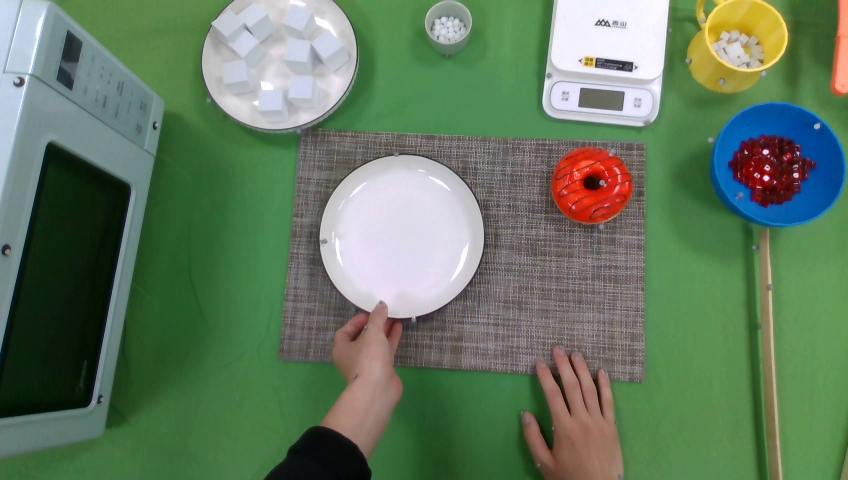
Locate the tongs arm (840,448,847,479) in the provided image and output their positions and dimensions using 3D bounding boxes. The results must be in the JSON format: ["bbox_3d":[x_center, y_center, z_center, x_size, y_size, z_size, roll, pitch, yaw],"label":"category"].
[{"bbox_3d":[0.505,0.188,0.705,0.028,0.028,0.386,18,82,-1],"label":"tongs arm"}]

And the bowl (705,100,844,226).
[{"bbox_3d":[0.407,-0.084,0.733,0.151,0.077,0.151,0,81,3],"label":"bowl"}]

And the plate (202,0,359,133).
[{"bbox_3d":[-0.188,-0.238,0.809,0.207,0.039,0.207,0,80,3],"label":"plate"}]

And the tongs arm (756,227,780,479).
[{"bbox_3d":[0.420,0.175,0.709,0.051,0.026,0.383,4,81,0],"label":"tongs arm"}]

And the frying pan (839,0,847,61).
[{"bbox_3d":[0.701,-0.181,0.722,0.307,0.103,0.484,-24,72,0],"label":"frying pan"}]

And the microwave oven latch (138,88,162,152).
[{"bbox_3d":[-0.361,-0.156,0.784,0.030,0.029,0.079,7,81,4],"label":"microwave oven latch"}]

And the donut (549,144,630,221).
[{"bbox_3d":[0.205,-0.071,0.754,0.099,0.048,0.098,-1,80,5],"label":"donut"}]

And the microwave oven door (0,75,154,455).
[{"bbox_3d":[-0.393,0.040,0.648,0.039,0.245,0.354,5,80,4],"label":"microwave oven door"}]

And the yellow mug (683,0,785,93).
[{"bbox_3d":[0.383,-0.260,0.771,0.100,0.064,0.130,-29,79,-2],"label":"yellow mug"}]

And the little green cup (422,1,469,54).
[{"bbox_3d":[0.030,-0.280,0.806,0.061,0.039,0.061,-1,79,3],"label":"little green cup"}]

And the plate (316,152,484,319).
[{"bbox_3d":[-0.029,-0.005,0.757,0.209,0.038,0.208,0,80,3],"label":"plate"}]

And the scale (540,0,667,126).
[{"bbox_3d":[0.236,-0.253,0.794,0.148,0.032,0.200,7,81,5],"label":"scale"}]

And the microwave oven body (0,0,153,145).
[{"bbox_3d":[-0.533,-0.015,0.669,0.326,0.261,0.440,6,81,3],"label":"microwave oven body"}]

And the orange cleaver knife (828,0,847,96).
[{"bbox_3d":[0.523,-0.273,0.729,0.077,0.012,0.210,8,81,7],"label":"orange cleaver knife"}]
